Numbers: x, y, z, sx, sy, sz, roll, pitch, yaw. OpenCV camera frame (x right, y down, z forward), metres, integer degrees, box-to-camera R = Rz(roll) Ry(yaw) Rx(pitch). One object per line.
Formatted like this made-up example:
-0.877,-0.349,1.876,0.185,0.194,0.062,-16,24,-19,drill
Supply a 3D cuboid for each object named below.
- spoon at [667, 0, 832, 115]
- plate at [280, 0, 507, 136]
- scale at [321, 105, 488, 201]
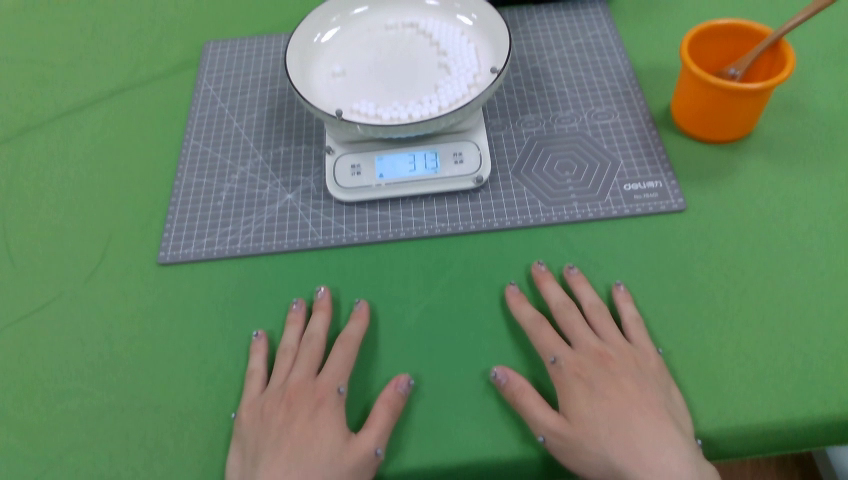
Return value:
0.295,-0.171,0.512,0.022,0.194,0.041,21,44,-35,spoon
-0.027,-0.170,0.566,0.209,0.038,0.207,-2,56,3,plate
-0.023,-0.128,0.577,0.149,0.032,0.199,-6,56,1,scale
